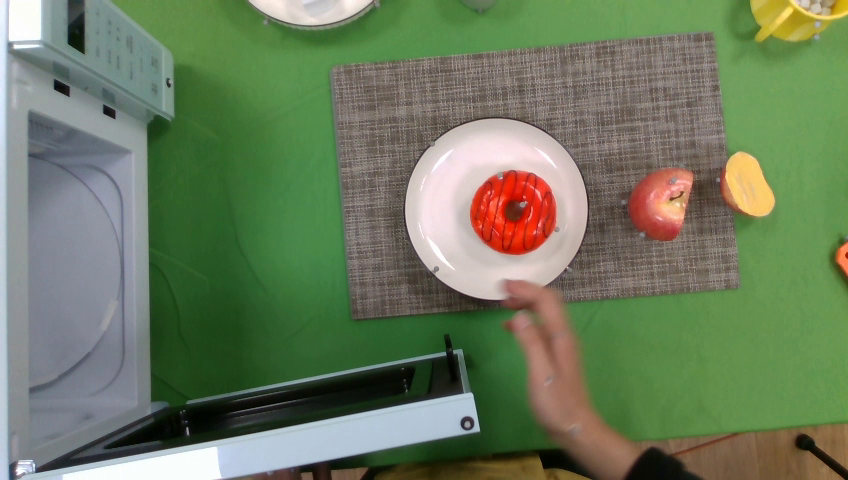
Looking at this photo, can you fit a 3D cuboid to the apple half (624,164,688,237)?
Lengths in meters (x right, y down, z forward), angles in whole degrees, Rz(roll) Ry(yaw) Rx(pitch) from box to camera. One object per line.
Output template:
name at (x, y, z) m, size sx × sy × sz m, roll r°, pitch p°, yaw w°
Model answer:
apple half at (0.250, -0.046, 0.669) m, size 0.053 × 0.075 × 0.081 m, roll 13°, pitch 92°, yaw 6°

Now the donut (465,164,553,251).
donut at (0.095, -0.036, 0.677) m, size 0.099 × 0.048 × 0.099 m, roll 0°, pitch 90°, yaw 2°

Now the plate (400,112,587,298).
plate at (0.077, -0.039, 0.689) m, size 0.209 × 0.038 × 0.209 m, roll 0°, pitch 88°, yaw 1°

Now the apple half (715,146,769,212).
apple half at (0.350, -0.063, 0.684) m, size 0.082 × 0.033 × 0.081 m, roll 10°, pitch 69°, yaw -26°

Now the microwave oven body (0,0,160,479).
microwave oven body at (-0.451, -0.010, 0.586) m, size 0.326 × 0.260 × 0.441 m, roll -2°, pitch 89°, yaw 0°

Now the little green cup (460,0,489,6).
little green cup at (0.060, -0.304, 0.701) m, size 0.061 × 0.038 × 0.061 m, roll 0°, pitch 88°, yaw 1°

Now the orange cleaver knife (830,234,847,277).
orange cleaver knife at (0.531, 0.080, 0.690) m, size 0.077 × 0.012 × 0.211 m, roll -20°, pitch 87°, yaw -5°

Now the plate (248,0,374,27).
plate at (-0.130, -0.347, 0.706) m, size 0.208 × 0.039 × 0.207 m, roll 0°, pitch 88°, yaw 1°

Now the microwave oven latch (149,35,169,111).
microwave oven latch at (-0.307, -0.188, 0.685) m, size 0.030 × 0.029 × 0.079 m, roll -1°, pitch 89°, yaw 0°

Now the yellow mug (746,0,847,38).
yellow mug at (0.417, -0.279, 0.681) m, size 0.100 × 0.064 × 0.131 m, roll 43°, pitch 90°, yaw 2°

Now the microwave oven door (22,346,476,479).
microwave oven door at (-0.132, 0.164, 0.570) m, size 0.356 × 0.244 × 0.039 m, roll -11°, pitch 87°, yaw 1°
